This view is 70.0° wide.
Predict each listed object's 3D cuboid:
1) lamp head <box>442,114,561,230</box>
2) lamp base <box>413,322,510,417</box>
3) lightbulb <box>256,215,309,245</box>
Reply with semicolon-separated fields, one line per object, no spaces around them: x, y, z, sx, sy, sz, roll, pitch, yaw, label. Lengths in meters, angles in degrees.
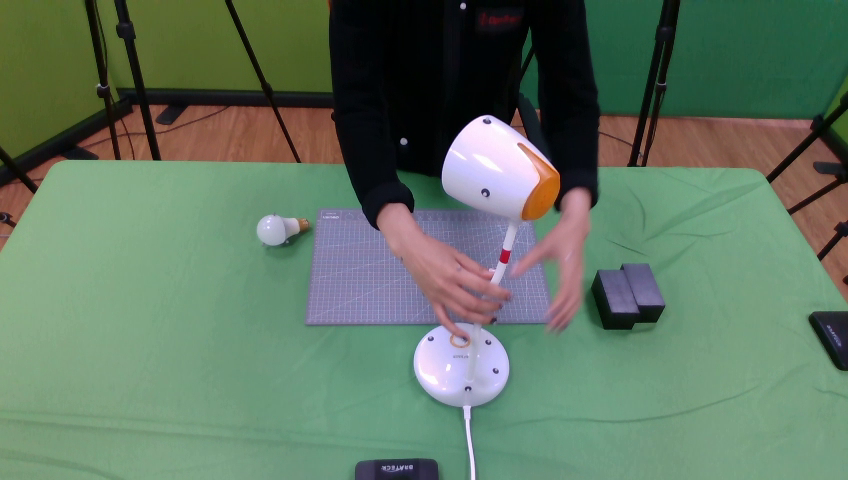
0.098;-0.072;0.721;0.112;0.113;0.122;-34;59;-30;lamp head
0.068;0.159;0.942;0.161;0.181;0.178;-5;50;-8;lamp base
-0.274;-0.024;1.183;0.108;0.060;0.059;-13;46;-37;lightbulb
